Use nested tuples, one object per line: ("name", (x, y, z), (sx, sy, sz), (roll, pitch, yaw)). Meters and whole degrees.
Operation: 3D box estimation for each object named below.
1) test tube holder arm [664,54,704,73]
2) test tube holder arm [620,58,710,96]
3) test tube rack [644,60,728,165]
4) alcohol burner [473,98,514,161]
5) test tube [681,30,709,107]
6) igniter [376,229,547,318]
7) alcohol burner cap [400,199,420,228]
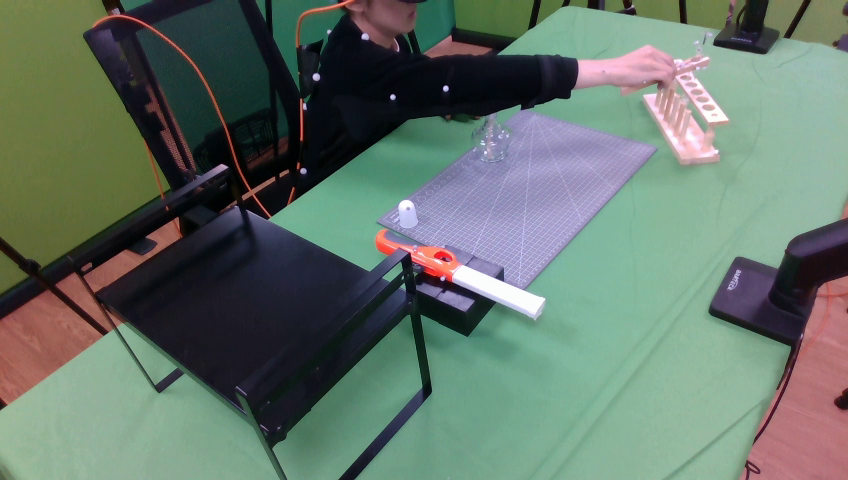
("test tube holder arm", (0.469, -0.313, 1.091), (0.088, 0.015, 0.010), (-27, 48, -15))
("test tube holder arm", (0.431, -0.293, 1.079), (0.179, 0.015, 0.013), (-21, 46, -10))
("test tube rack", (0.486, -0.246, 1.139), (0.067, 0.085, 0.241), (-5, 41, 4))
("alcohol burner", (0.127, -0.208, 1.123), (0.078, 0.119, 0.077), (-5, 39, 5))
("test tube", (0.494, -0.310, 1.104), (0.017, 0.151, 0.017), (-3, 44, 3))
("igniter", (0.040, 0.041, 0.845), (0.274, 0.025, 0.057), (22, 46, 27))
("alcohol burner cap", (-0.025, -0.047, 1.014), (0.034, 0.048, 0.033), (-4, 42, 4))
